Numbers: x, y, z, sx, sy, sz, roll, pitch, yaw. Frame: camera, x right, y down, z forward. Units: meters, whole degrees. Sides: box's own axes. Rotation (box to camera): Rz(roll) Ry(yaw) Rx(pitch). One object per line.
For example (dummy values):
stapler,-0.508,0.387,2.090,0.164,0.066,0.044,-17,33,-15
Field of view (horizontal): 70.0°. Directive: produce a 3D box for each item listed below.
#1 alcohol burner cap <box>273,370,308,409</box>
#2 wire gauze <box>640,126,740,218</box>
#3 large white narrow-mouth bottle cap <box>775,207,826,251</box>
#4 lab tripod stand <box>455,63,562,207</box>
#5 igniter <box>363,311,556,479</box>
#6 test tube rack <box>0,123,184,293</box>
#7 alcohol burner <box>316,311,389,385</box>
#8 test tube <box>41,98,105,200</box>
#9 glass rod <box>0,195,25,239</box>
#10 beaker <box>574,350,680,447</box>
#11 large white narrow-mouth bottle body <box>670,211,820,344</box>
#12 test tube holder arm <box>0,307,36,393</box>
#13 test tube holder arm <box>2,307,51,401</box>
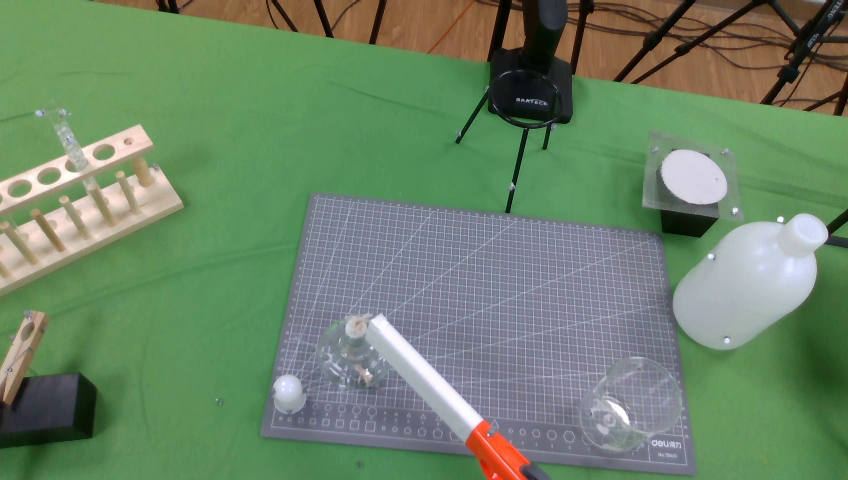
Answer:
alcohol burner cap,-0.136,0.148,0.607,0.034,0.048,0.033,2,61,-4
wire gauze,0.337,-0.086,0.768,0.121,0.011,0.124,13,59,1
large white narrow-mouth bottle cap,0.357,-0.011,0.577,0.038,0.024,0.037,3,60,-5
lab tripod stand,0.112,-0.136,0.753,0.149,0.132,0.147,4,61,-7
igniter,0.048,0.161,0.493,0.274,0.057,0.025,42,49,21
test tube rack,-0.398,-0.030,0.655,0.242,0.086,0.066,-31,68,-22
alcohol burner,-0.068,0.101,0.602,0.078,0.120,0.077,4,59,-7
test tube,-0.364,-0.089,0.635,0.017,0.151,0.017,4,57,-6
glass rod,-0.430,-0.063,0.593,0.008,0.201,0.008,5,51,-6
beaker,0.195,0.163,0.607,0.084,0.101,0.073,4,59,-4
large white narrow-mouth bottle body,0.349,0.034,0.649,0.102,0.196,0.101,3,59,-4
test tube holder arm,-0.384,0.142,0.540,0.013,0.015,0.177,9,59,-2
test tube holder arm,-0.373,0.105,0.564,0.010,0.015,0.087,10,59,-1
